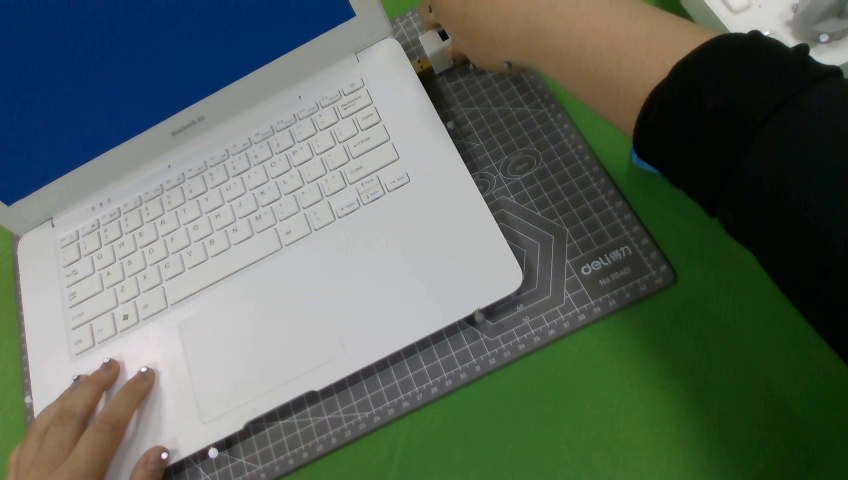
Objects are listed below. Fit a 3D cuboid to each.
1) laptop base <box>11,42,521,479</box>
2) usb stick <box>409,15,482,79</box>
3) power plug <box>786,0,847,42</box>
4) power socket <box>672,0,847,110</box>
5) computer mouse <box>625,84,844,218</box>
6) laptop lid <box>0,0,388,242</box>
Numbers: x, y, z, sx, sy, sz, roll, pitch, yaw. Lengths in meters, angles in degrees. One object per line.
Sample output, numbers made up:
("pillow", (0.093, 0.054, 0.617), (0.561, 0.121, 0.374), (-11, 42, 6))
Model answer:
("laptop base", (-0.135, 0.018, 0.439), (0.354, 0.023, 0.233), (-28, 65, 4))
("usb stick", (0.013, -0.142, 0.456), (0.059, 0.027, 0.021), (-27, 65, 5))
("power plug", (0.255, -0.140, 0.358), (0.072, 0.053, 0.035), (-17, 66, 10))
("power socket", (0.209, -0.180, 0.412), (0.072, 0.033, 0.224), (-25, 62, 6))
("computer mouse", (0.184, -0.059, 0.366), (0.116, 0.041, 0.062), (24, 78, 29))
("laptop lid", (-0.221, -0.142, 0.403), (0.357, 0.244, 0.013), (-28, 49, 5))
